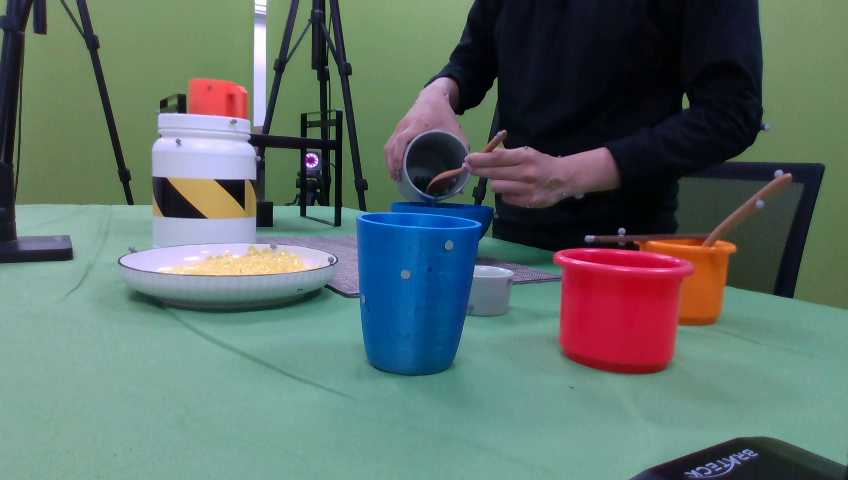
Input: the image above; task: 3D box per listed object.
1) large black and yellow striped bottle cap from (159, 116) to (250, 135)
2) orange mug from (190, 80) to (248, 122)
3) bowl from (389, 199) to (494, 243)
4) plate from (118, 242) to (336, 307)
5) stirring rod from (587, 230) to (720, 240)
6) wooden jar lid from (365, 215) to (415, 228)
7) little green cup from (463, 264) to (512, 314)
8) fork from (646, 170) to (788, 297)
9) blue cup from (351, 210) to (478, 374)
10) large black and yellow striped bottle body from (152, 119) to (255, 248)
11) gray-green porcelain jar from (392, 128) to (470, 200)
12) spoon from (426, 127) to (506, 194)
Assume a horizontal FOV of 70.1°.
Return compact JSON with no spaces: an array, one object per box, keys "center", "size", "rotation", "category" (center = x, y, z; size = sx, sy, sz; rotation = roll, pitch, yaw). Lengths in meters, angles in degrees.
[{"center":[-0.292,-0.153,0.810],"size":[0.115,0.019,0.115],"rotation":[3,8,0],"category":"large black and yellow striped bottle cap"},{"center":[-0.394,-0.257,1.173],"size":[0.126,0.100,0.084],"rotation":[1,6,25],"category":"orange mug"},{"center":[0.024,-0.016,0.871],"size":[0.151,0.077,0.151],"rotation":[2,7,0],"category":"bowl"},{"center":[-0.194,0.033,0.615],"size":[0.209,0.038,0.209],"rotation":[2,7,0],"category":"plate"},{"center":[0.226,-0.005,0.586],"size":[0.177,0.006,0.014],"rotation":[-2,8,-29],"category":"stirring rod"},{"center":[-0.072,-0.040,1.291],"size":[0.108,0.020,0.108],"rotation":[3,8,0],"category":"wooden jar lid"},{"center":[0.053,0.047,0.580],"size":[0.061,0.038,0.061],"rotation":[3,8,0],"category":"little green cup"},{"center":[0.256,0.004,0.543],"size":[0.028,0.018,0.207],"rotation":[3,-36,-9],"category":"fork"},{"center":[-0.009,0.034,0.414],"size":[0.093,0.100,0.092],"rotation":[3,8,0],"category":"blue cup"},{"center":[-0.296,-0.070,0.819],"size":[0.131,0.184,0.130],"rotation":[2,7,0],"category":"large black and yellow striped bottle body"},{"center":[0.006,-0.113,0.958],"size":[0.106,0.105,0.126],"rotation":[1,-1,-12],"category":"gray-green porcelain jar"},{"center":[0.058,-0.106,0.835],"size":[0.042,0.021,0.193],"rotation":[-12,-10,-33],"category":"spoon"}]
